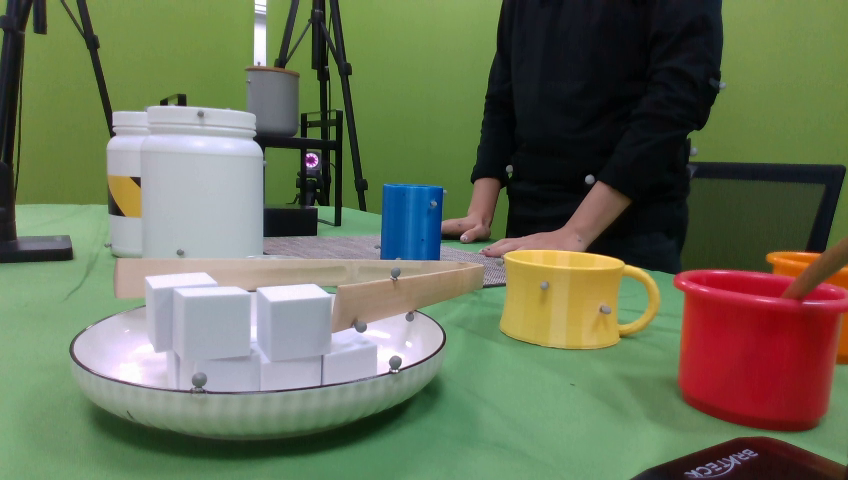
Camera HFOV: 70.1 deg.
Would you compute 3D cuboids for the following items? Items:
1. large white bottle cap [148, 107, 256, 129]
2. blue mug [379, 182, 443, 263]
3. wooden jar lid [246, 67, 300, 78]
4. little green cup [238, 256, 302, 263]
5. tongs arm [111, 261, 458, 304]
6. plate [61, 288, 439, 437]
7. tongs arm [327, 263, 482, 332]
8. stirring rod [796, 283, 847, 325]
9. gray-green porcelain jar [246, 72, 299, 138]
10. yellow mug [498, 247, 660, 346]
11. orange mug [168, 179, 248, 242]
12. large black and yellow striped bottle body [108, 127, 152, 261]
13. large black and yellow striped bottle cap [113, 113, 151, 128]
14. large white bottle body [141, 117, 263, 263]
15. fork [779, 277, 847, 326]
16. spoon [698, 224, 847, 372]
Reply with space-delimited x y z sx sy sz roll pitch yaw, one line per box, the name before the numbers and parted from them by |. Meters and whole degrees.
large white bottle cap | -0.250 -0.137 0.686 0.115 0.018 0.115 3 8 0
blue mug | -0.020 -0.026 0.833 0.082 0.106 0.116 1 7 -7
wooden jar lid | -0.312 -0.339 1.247 0.108 0.020 0.108 4 8 0
little green cup | -0.150 0.038 0.590 0.061 0.038 0.061 3 6 0
tongs arm | -0.080 0.032 0.527 0.028 0.027 0.389 -3 -3 33
plate | -0.095 0.069 0.362 0.208 0.039 0.207 3 7 0
tongs arm | -0.003 0.036 0.493 0.050 0.026 0.386 1 0 19
stirring rod | 0.346 0.019 0.460 0.014 0.176 0.006 -17 59 -26
gray-green porcelain jar | -0.314 -0.277 1.256 0.106 0.126 0.106 3 8 0
yellow mug | 0.130 0.045 0.508 0.131 0.064 0.100 4 7 6
orange mug | -0.351 -0.050 0.986 0.126 0.101 0.083 -3 8 -9
large black and yellow striped bottle body | -0.350 -0.071 0.812 0.131 0.184 0.130 2 8 0
large black and yellow striped bottle cap | -0.348 -0.154 0.800 0.115 0.019 0.115 2 6 0
large white bottle body | -0.254 -0.054 0.697 0.131 0.184 0.130 2 7 0
fork | 0.335 0.018 0.443 0.028 0.018 0.207 -1 -36 -20
spoon | 0.195 0.032 0.323 0.041 0.021 0.194 1 -36 2
